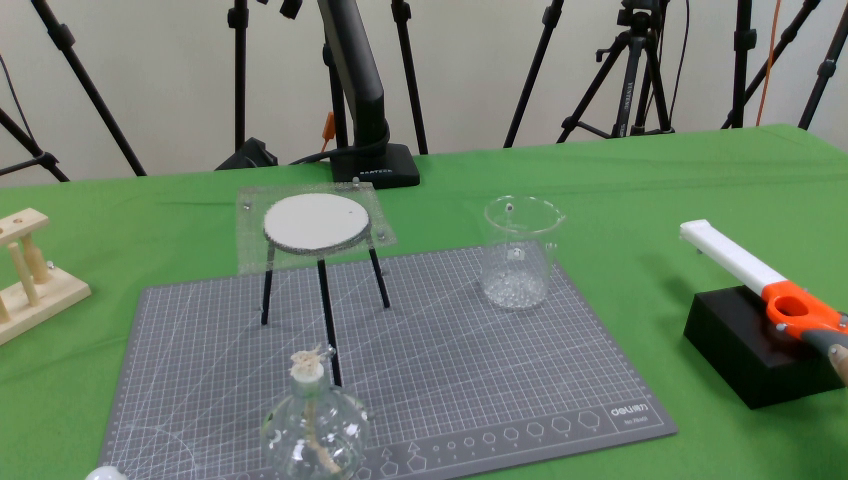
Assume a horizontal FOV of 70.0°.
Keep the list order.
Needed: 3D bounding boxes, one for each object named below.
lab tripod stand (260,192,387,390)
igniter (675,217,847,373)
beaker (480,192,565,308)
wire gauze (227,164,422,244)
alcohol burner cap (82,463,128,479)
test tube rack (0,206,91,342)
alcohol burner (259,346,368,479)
[{"bbox_3d":[-0.089,0.037,0.540,0.148,0.132,0.147,2,34,-1],"label":"lab tripod stand"},{"bbox_3d":[0.316,0.048,0.540,0.057,0.025,0.273,-11,31,-9],"label":"igniter"},{"bbox_3d":[0.096,0.012,0.613,0.084,0.101,0.073,-3,34,-5],"label":"beaker"},{"bbox_3d":[-0.083,-0.031,0.491,0.125,0.011,0.120,-13,32,-33],"label":"wire gauze"},{"bbox_3d":[-0.216,0.173,0.414,0.034,0.048,0.033,2,33,-1],"label":"alcohol burner cap"},{"bbox_3d":[-0.441,0.065,0.540,0.066,0.086,0.242,20,38,27],"label":"test tube rack"},{"bbox_3d":[-0.079,0.121,0.431,0.078,0.120,0.077,2,33,-1],"label":"alcohol burner"}]
